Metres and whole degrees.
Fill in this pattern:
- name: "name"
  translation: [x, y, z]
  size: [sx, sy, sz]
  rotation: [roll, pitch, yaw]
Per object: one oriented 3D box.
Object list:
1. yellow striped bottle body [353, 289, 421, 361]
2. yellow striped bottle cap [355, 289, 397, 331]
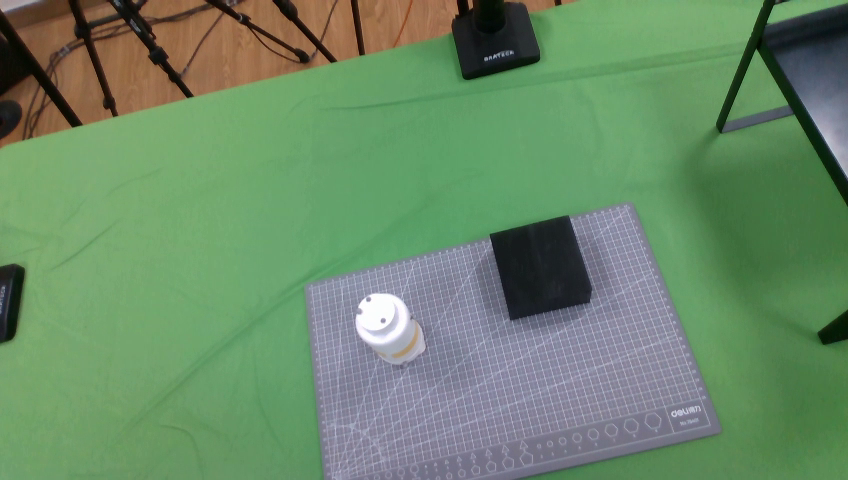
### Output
- name: "yellow striped bottle body"
  translation: [-0.044, 0.099, 0.713]
  size: [0.063, 0.121, 0.062]
  rotation: [-4, 65, 9]
- name: "yellow striped bottle cap"
  translation: [-0.053, 0.077, 0.667]
  size: [0.044, 0.019, 0.044]
  rotation: [-5, 67, 12]
